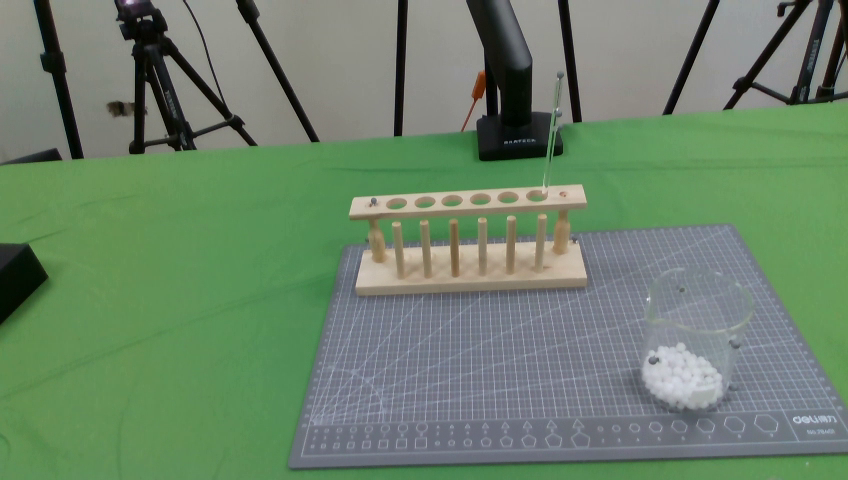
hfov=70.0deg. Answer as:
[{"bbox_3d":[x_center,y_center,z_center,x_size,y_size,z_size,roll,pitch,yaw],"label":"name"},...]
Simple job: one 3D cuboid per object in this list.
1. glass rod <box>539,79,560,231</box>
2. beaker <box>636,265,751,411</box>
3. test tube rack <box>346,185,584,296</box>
[{"bbox_3d":[0.122,-0.064,0.601,0.008,0.201,0.008,-1,38,1],"label":"glass rod"},{"bbox_3d":[0.210,0.083,0.490,0.084,0.101,0.073,-15,37,-9],"label":"beaker"},{"bbox_3d":[0.044,0.001,0.638,0.242,0.086,0.066,-3,37,5],"label":"test tube rack"}]
